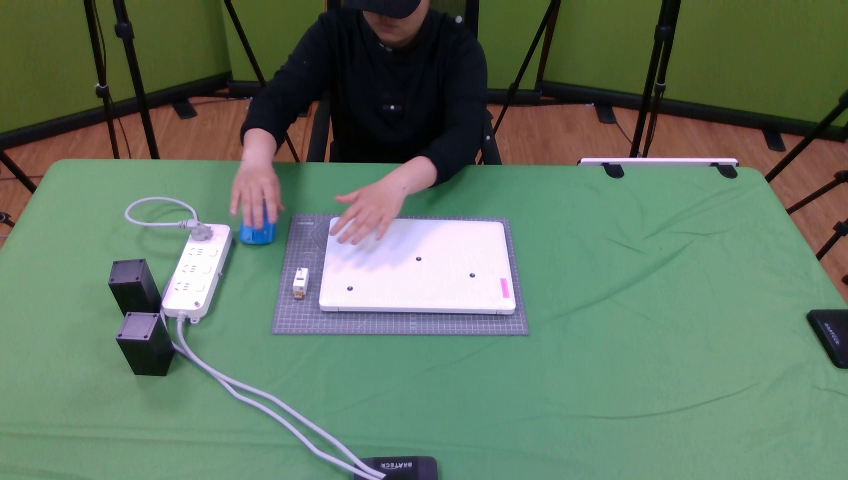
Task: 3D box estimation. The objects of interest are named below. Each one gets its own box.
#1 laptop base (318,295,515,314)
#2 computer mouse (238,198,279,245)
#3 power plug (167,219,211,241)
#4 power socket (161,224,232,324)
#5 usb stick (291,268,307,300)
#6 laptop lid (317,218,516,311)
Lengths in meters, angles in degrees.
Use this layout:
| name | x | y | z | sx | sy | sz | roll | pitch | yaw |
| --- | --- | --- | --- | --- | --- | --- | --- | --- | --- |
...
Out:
| name | x | y | z | sx | sy | sz | roll | pitch | yaw |
| --- | --- | --- | --- | --- | --- | --- | --- | --- | --- |
| laptop base | -0.014 | 0.049 | 1.150 | 0.354 | 0.023 | 0.234 | 1 | 42 | -3 |
| computer mouse | -0.327 | -0.040 | 1.200 | 0.063 | 0.041 | 0.116 | 4 | 50 | -4 |
| power plug | -0.438 | -0.017 | 1.143 | 0.072 | 0.053 | 0.035 | 10 | 44 | 6 |
| power socket | -0.411 | 0.052 | 1.107 | 0.072 | 0.033 | 0.225 | 4 | 46 | -2 |
| usb stick | -0.227 | 0.081 | 1.094 | 0.021 | 0.027 | 0.059 | 5 | 48 | -4 |
| laptop lid | -0.013 | 0.040 | 1.143 | 0.357 | 0.013 | 0.240 | 3 | 43 | -2 |
